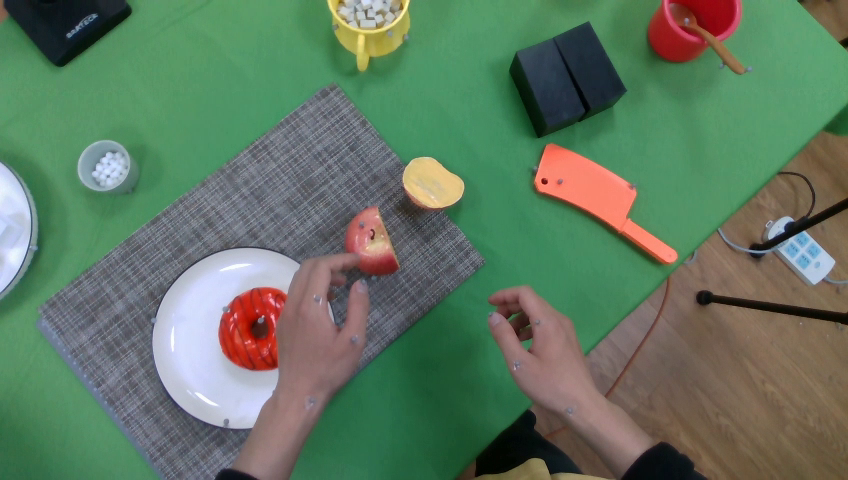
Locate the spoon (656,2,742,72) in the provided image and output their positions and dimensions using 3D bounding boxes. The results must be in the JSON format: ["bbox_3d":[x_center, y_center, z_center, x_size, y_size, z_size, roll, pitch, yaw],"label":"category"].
[{"bbox_3d":[0.329,-0.247,0.727,0.041,0.022,0.191,-7,38,-2],"label":"spoon"}]

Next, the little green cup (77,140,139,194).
[{"bbox_3d":[-0.377,-0.085,0.730,0.061,0.039,0.061,0,82,-2],"label":"little green cup"}]

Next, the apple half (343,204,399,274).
[{"bbox_3d":[-0.067,0.004,0.709,0.053,0.075,0.080,-22,87,-1],"label":"apple half"}]

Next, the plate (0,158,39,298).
[{"bbox_3d":[-0.556,-0.009,0.712,0.208,0.039,0.207,0,82,-2],"label":"plate"}]

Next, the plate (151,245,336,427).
[{"bbox_3d":[-0.206,0.110,0.707,0.209,0.038,0.208,0,83,-2],"label":"plate"}]

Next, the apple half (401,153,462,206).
[{"bbox_3d":[0.003,-0.065,0.739,0.081,0.033,0.080,12,50,-15],"label":"apple half"}]

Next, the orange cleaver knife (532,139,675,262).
[{"bbox_3d":[0.229,-0.051,0.759,0.211,0.012,0.077,33,76,4],"label":"orange cleaver knife"}]

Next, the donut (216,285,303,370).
[{"bbox_3d":[-0.189,0.101,0.698,0.099,0.048,0.099,0,84,-3],"label":"donut"}]

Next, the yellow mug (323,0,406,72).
[{"bbox_3d":[-0.074,-0.274,0.753,0.100,0.064,0.130,7,83,-1],"label":"yellow mug"}]
